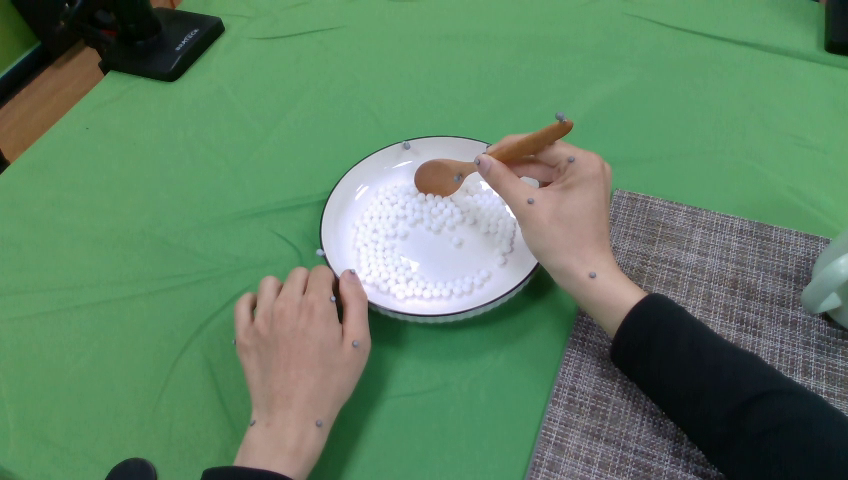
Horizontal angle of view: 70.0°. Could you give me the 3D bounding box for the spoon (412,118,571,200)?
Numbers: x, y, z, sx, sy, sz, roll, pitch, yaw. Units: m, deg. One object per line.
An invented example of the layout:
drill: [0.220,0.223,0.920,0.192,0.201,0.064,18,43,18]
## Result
spoon: [0.050,-0.065,0.511,0.021,0.042,0.193,-50,20,-27]

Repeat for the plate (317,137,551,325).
plate: [0.010,-0.009,0.551,0.209,0.038,0.207,-2,53,3]

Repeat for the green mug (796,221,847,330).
green mug: [0.338,0.022,0.450,0.125,0.106,0.091,-19,54,-9]
